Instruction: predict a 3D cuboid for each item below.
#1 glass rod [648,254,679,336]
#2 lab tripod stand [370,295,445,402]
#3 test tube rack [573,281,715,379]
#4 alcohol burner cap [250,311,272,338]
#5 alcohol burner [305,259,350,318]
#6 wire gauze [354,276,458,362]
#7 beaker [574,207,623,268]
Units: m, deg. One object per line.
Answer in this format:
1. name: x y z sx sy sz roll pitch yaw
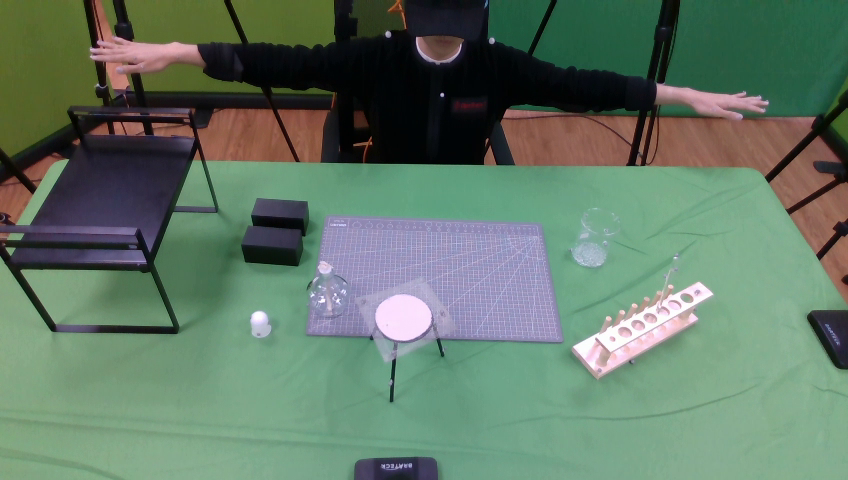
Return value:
1. glass rod: 0.391 0.094 0.991 0.008 0.201 0.008 -2 44 2
2. lab tripod stand: -0.036 0.160 0.959 0.148 0.132 0.147 1 46 0
3. test tube rack: 0.378 0.140 1.038 0.242 0.085 0.066 -22 51 -22
4. alcohol burner cap: -0.278 0.141 1.025 0.034 0.048 0.033 1 47 -1
5. alcohol burner: -0.166 0.078 1.040 0.078 0.120 0.077 1 44 -1
6. wire gauze: -0.029 0.113 0.912 0.121 0.011 0.124 -18 49 -19
7. beaker: 0.334 -0.003 1.165 0.084 0.101 0.073 -18 50 -21
